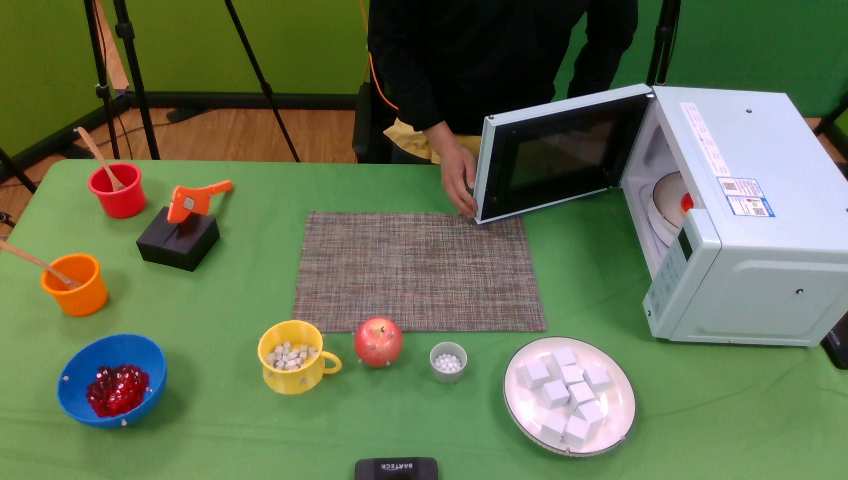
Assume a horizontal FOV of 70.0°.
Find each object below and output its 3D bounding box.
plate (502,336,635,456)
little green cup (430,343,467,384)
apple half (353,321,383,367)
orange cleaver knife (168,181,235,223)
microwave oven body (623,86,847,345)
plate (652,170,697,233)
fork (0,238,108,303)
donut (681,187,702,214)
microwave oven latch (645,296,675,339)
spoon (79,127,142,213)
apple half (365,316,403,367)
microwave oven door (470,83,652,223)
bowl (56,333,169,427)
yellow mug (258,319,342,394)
[{"bbox_3d":[0.225,0.248,0.963,0.208,0.039,0.206,2,46,-2],"label":"plate"},{"bbox_3d":[0.039,0.203,0.994,0.061,0.039,0.061,2,46,-2],"label":"little green cup"},{"bbox_3d":[-0.097,0.177,0.984,0.033,0.081,0.081,-17,49,-24],"label":"apple half"},{"bbox_3d":[-0.436,-0.078,1.196,0.012,0.077,0.211,16,15,10],"label":"orange cleaver knife"},{"bbox_3d":[0.567,-0.053,1.118,0.326,0.261,0.439,2,45,-1],"label":"microwave oven body"},{"bbox_3d":[0.555,-0.059,1.196,0.209,0.038,0.208,2,46,-2],"label":"plate"},{"bbox_3d":[-0.633,0.048,1.017,0.208,0.018,0.028,40,41,-27],"label":"fork"},{"bbox_3d":[0.553,-0.066,1.184,0.099,0.048,0.098,2,48,-2],"label":"donut"},{"bbox_3d":[0.412,0.134,1.061,0.030,0.029,0.078,3,45,0],"label":"microwave oven latch"},{"bbox_3d":[-0.625,-0.139,1.203,0.041,0.021,0.194,-33,101,-26],"label":"spoon"},{"bbox_3d":[-0.063,0.165,1.000,0.053,0.075,0.080,-16,45,-24],"label":"apple half"},{"bbox_3d":[0.270,-0.173,1.207,0.356,0.245,0.039,-15,49,-18],"label":"microwave oven door"},{"bbox_3d":[-0.456,0.223,0.912,0.151,0.077,0.150,3,46,-2],"label":"bowl"},{"bbox_3d":[-0.195,0.188,0.972,0.131,0.064,0.099,9,47,4],"label":"yellow mug"}]
